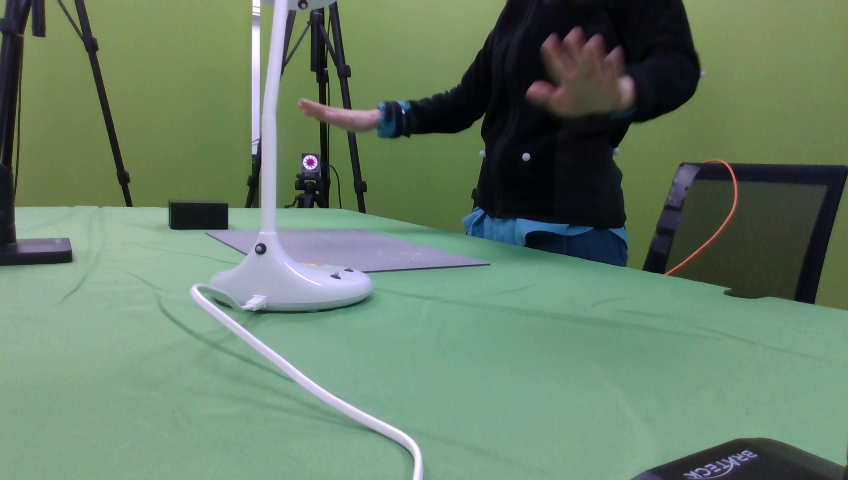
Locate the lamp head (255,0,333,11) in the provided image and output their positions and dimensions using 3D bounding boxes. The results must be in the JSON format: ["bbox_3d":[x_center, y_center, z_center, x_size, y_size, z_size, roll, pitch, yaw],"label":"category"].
[{"bbox_3d":[-0.141,-0.318,0.630,0.113,0.112,0.123,1,-32,-9],"label":"lamp head"}]

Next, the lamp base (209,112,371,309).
[{"bbox_3d":[-0.133,-0.032,0.594,0.160,0.180,0.179,2,10,3],"label":"lamp base"}]
